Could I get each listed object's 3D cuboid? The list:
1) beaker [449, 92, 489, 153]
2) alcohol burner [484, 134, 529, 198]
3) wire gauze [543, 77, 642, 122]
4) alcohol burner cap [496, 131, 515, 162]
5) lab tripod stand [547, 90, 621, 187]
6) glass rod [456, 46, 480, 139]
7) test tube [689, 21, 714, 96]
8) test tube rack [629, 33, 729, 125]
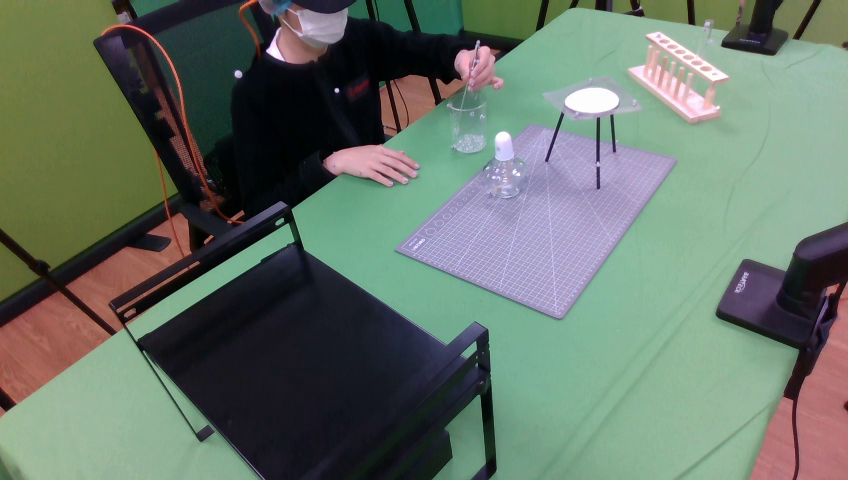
[{"bbox_3d":[0.092,-0.228,1.177,0.073,0.101,0.084,15,45,24],"label":"beaker"},{"bbox_3d":[0.141,-0.133,1.041,0.078,0.119,0.077,-5,43,5],"label":"alcohol burner"},{"bbox_3d":[0.282,-0.236,1.020,0.125,0.011,0.120,-15,40,-6],"label":"wire gauze"},{"bbox_3d":[0.135,-0.160,1.019,0.034,0.048,0.033,-8,37,7],"label":"alcohol burner cap"},{"bbox_3d":[0.289,-0.184,1.062,0.148,0.132,0.147,-6,41,6],"label":"lab tripod stand"},{"bbox_3d":[0.082,-0.271,1.137,0.008,0.200,0.008,7,44,-6],"label":"glass rod"},{"bbox_3d":[0.542,-0.353,1.184,0.017,0.151,0.017,-2,40,2],"label":"test tube"},{"bbox_3d":[0.516,-0.337,1.247,0.067,0.085,0.240,-14,41,-7],"label":"test tube rack"}]
